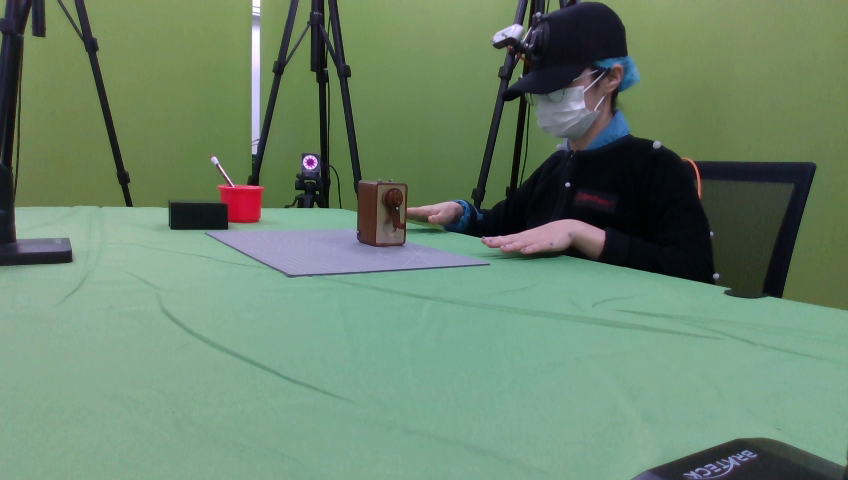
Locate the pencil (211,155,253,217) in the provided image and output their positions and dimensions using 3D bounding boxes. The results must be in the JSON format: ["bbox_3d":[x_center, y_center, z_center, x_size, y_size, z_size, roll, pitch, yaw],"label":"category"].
[{"bbox_3d":[-0.422,-0.120,1.331,0.012,0.012,0.193,-8,53,-52],"label":"pencil"}]

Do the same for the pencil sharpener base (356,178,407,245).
[{"bbox_3d":[-0.071,-0.049,1.018,0.062,0.107,0.076,-2,9,-32],"label":"pencil sharpener base"}]

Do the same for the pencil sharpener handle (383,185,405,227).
[{"bbox_3d":[-0.043,-0.054,0.975,0.036,0.067,0.030,-10,13,-31],"label":"pencil sharpener handle"}]
